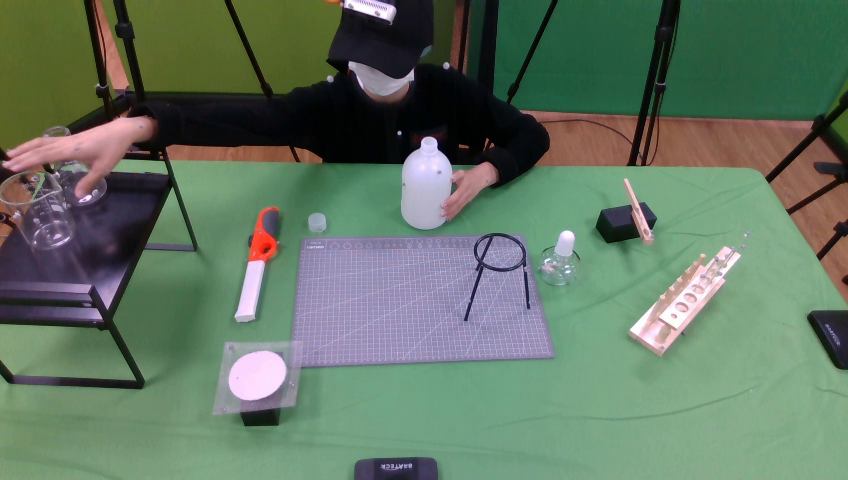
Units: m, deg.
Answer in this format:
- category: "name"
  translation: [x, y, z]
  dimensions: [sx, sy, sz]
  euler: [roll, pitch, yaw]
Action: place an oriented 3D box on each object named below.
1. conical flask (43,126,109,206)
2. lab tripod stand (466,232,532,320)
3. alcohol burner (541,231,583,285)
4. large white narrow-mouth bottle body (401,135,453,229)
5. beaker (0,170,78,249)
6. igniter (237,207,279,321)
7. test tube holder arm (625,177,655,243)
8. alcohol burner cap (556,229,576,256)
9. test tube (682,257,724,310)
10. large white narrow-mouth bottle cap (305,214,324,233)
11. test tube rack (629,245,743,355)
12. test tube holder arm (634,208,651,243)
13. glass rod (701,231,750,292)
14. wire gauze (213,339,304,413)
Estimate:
- category: "conical flask"
  translation: [-0.554, -0.119, 0.953]
  dimensions: [0.075, 0.122, 0.075]
  euler: [2, 46, -2]
- category: "lab tripod stand"
  translation: [0.124, 0.059, 1.065]
  dimensions: [0.148, 0.132, 0.147]
  euler: [1, 45, 0]
- category: "alcohol burner"
  translation: [0.258, 0.028, 1.123]
  dimensions: [0.078, 0.120, 0.077]
  euler: [1, 48, -1]
- category: "large white narrow-mouth bottle body"
  translation: [0.007, -0.119, 1.192]
  dimensions: [0.102, 0.195, 0.101]
  euler: [2, 46, -2]
- category: "beaker"
  translation: [-0.562, -0.042, 0.894]
  dimensions: [0.084, 0.101, 0.073]
  euler: [-2, 47, -7]
- category: "igniter"
  translation: [-0.309, 0.036, 1.136]
  dimensions: [0.057, 0.025, 0.274]
  euler: [-7, 45, 5]
- category: "test tube holder arm"
  translation: [0.433, -0.062, 1.220]
  dimensions: [0.013, 0.015, 0.177]
  euler: [1, 47, -3]
- category: "alcohol burner cap"
  translation: [0.260, 0.002, 1.098]
  dimensions: [0.034, 0.048, 0.033]
  euler: [3, 40, -2]
- category: "test tube"
  translation: [0.475, 0.080, 1.037]
  dimensions: [0.017, 0.151, 0.017]
  euler: [2, 51, -2]
- category: "large white narrow-mouth bottle cap"
  translation: [-0.219, -0.033, 1.214]
  dimensions: [0.038, 0.024, 0.037]
  euler: [2, 46, -2]
- category: "test tube rack"
  translation: [0.474, 0.095, 1.091]
  dimensions: [0.242, 0.085, 0.066]
  euler: [-34, 56, -31]
- category: "test tube holder arm"
  translation: [0.428, -0.030, 1.189]
  dimensions: [0.010, 0.015, 0.087]
  euler: [2, 47, -2]
- category: "glass rod"
  translation: [0.519, 0.045, 1.050]
  dimensions: [0.008, 0.201, 0.008]
  euler: [0, 55, 0]
- category: "wire gauze"
  translation: [-0.250, 0.203, 0.924]
  dimensions: [0.121, 0.011, 0.124]
  euler: [-1, 46, -3]
